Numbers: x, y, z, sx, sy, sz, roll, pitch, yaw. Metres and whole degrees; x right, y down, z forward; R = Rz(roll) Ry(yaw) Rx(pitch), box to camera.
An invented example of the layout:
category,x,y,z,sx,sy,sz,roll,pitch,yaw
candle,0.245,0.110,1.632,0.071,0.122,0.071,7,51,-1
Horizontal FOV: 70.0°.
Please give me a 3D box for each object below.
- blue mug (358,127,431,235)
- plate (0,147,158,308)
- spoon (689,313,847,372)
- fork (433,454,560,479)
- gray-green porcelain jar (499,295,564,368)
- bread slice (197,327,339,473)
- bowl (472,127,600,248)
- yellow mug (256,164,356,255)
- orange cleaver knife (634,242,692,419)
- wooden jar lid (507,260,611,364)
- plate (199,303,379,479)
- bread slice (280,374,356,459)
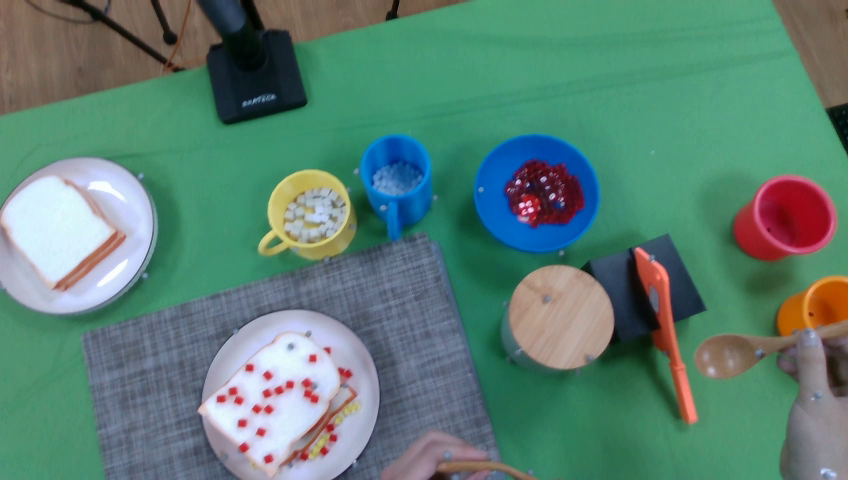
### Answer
category,x,y,z,sx,sy,sz,roll,pitch,yaw
blue mug,-0.035,-0.063,0.743,0.082,0.106,0.116,4,75,2
plate,-0.439,-0.015,0.769,0.208,0.039,0.206,0,76,1
spoon,0.331,0.080,0.529,0.193,0.022,0.041,-25,77,37
fork,0.068,0.196,0.520,0.028,0.209,0.018,-20,56,29
gray-green porcelain jar,0.141,0.092,0.690,0.106,0.127,0.105,0,75,1
bread slice,-0.160,0.162,0.656,0.107,0.018,0.134,38,73,4
bowl,0.133,-0.055,0.752,0.151,0.077,0.150,0,76,1
yellow mug,-0.152,-0.028,0.755,0.131,0.064,0.099,-36,77,-7
orange cleaver knife,0.277,0.105,0.707,0.012,0.077,0.212,-16,102,-1
wooden jar lid,0.139,0.074,0.629,0.108,0.021,0.108,1,77,-2
plate,-0.155,0.178,0.712,0.209,0.038,0.208,0,76,1
bread slice,-0.161,0.190,0.713,0.104,0.019,0.131,40,76,12
